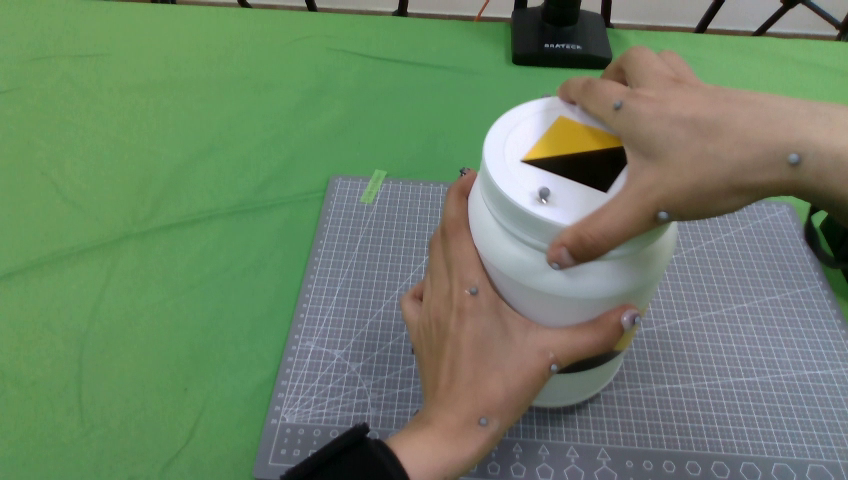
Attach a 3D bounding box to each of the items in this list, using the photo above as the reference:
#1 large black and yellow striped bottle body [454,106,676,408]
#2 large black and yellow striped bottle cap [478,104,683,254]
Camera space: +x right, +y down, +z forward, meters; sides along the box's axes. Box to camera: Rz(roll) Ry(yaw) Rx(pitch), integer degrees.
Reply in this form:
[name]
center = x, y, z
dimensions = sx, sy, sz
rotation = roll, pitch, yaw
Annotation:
[large black and yellow striped bottle body]
center = 0.089, 0.016, 0.412
dimensions = 0.131, 0.185, 0.129
rotation = 1, 48, 0
[large black and yellow striped bottle cap]
center = 0.088, -0.040, 0.348
dimensions = 0.115, 0.019, 0.114
rotation = 1, 47, -1
